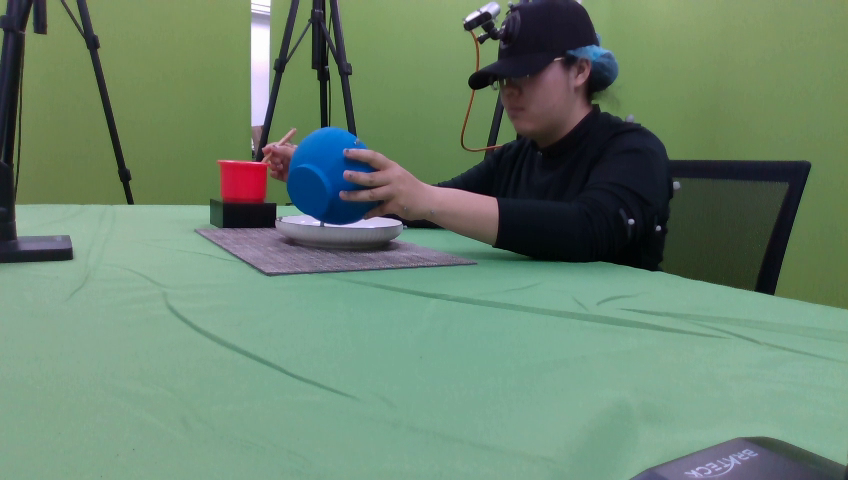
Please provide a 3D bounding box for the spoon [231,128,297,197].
[{"bbox_3d":[-0.308,-0.153,1.181,0.041,0.194,0.022,16,-28,36],"label":"spoon"}]

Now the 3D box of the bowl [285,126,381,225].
[{"bbox_3d":[-0.146,-0.082,0.874,0.151,0.151,0.077,6,25,29],"label":"bowl"}]

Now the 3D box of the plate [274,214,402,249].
[{"bbox_3d":[-0.140,-0.015,0.993,0.208,0.039,0.207,3,8,0],"label":"plate"}]
